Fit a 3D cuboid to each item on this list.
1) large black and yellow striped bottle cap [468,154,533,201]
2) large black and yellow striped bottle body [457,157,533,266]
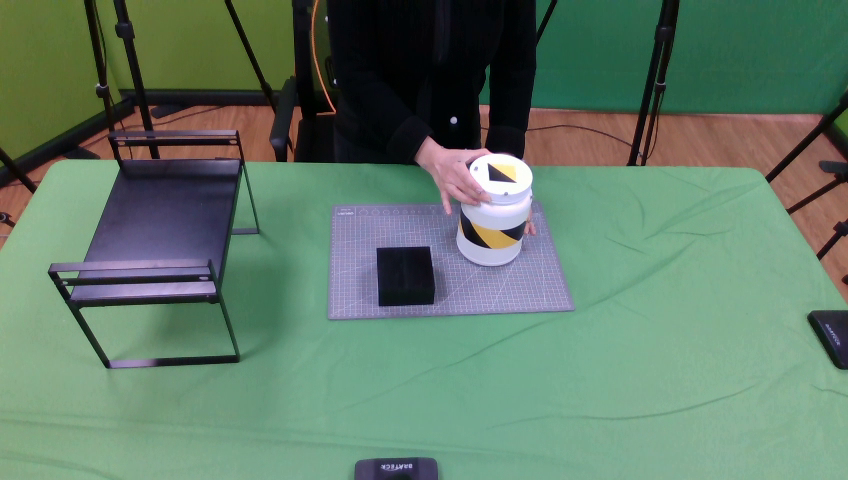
[{"bbox_3d":[0.136,-0.114,1.082,0.115,0.019,0.114,3,46,-3],"label":"large black and yellow striped bottle cap"},{"bbox_3d":[0.134,-0.056,1.143,0.131,0.185,0.130,2,46,-2],"label":"large black and yellow striped bottle body"}]
